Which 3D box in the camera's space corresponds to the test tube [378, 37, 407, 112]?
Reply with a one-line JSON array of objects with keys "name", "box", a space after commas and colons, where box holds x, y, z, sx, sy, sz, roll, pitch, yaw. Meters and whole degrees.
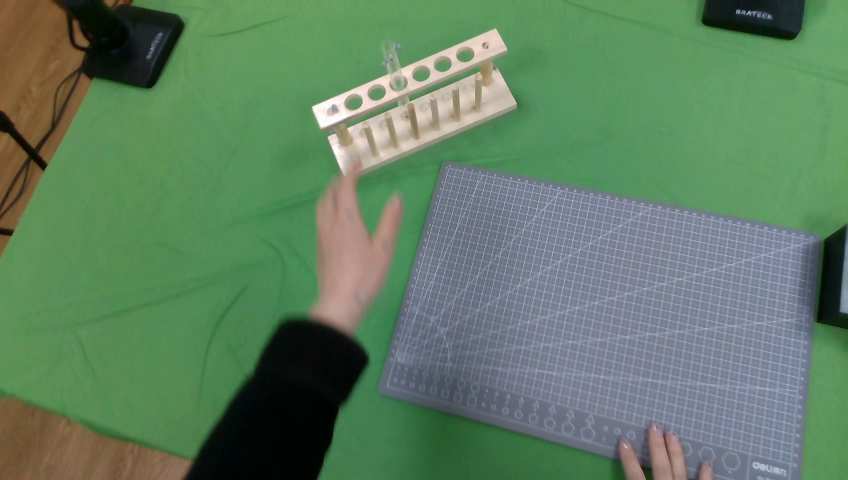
[{"name": "test tube", "box": [-0.034, -0.190, 0.713, 0.017, 0.151, 0.017, -1, 75, 6]}]

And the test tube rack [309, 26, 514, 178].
[{"name": "test tube rack", "box": [-0.010, -0.169, 0.756, 0.242, 0.086, 0.066, -23, 70, -2]}]
